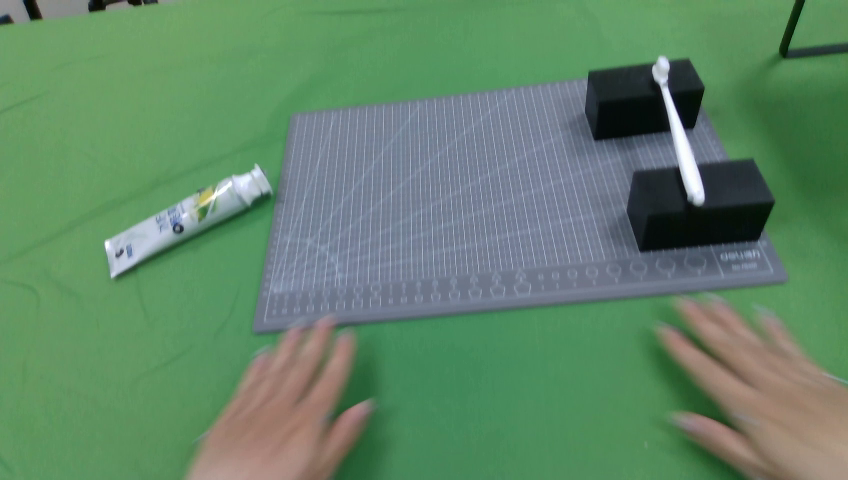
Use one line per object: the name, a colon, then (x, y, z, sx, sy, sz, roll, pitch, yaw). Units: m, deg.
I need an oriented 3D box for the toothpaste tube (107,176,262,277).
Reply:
toothpaste tube: (-0.238, -0.021, 0.609, 0.165, 0.035, 0.054, -29, 45, -10)

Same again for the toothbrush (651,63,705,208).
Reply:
toothbrush: (0.225, -0.099, 0.538, 0.014, 0.017, 0.180, 8, 52, -4)

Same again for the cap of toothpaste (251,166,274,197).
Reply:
cap of toothpaste: (-0.167, -0.058, 0.622, 0.011, 0.038, 0.037, -32, 52, -18)
